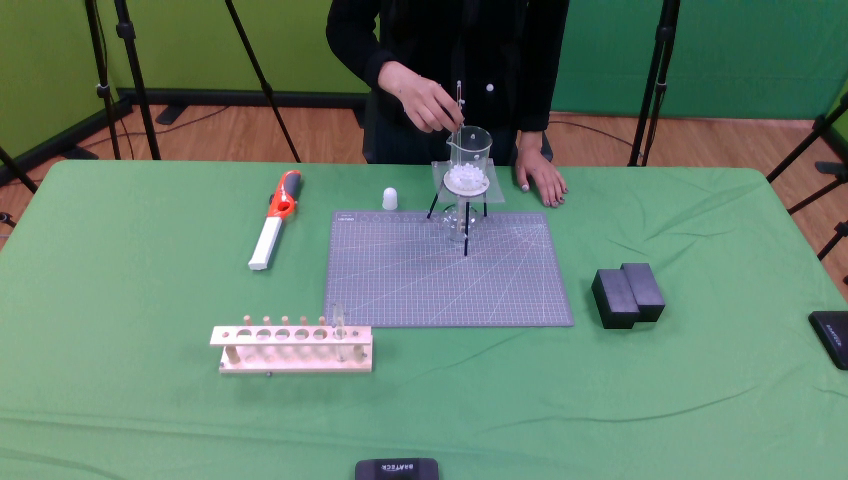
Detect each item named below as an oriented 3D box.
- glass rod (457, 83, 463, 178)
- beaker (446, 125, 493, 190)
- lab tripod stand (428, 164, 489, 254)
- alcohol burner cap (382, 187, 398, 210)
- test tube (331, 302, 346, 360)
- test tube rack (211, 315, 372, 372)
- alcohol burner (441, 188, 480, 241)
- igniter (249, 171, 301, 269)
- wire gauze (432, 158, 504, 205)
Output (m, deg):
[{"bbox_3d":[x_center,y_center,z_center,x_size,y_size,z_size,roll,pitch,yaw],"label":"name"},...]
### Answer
[{"bbox_3d":[0.064,-0.187,1.064,0.008,0.201,0.008,-2,46,3],"label":"glass rod"},{"bbox_3d":[0.079,-0.148,1.106,0.084,0.101,0.073,-3,47,-7],"label":"beaker"},{"bbox_3d":[0.078,-0.068,1.188,0.148,0.132,0.147,3,47,-3],"label":"lab tripod stand"},{"bbox_3d":[-0.072,-0.090,1.266,0.034,0.048,0.033,2,47,-2],"label":"alcohol burner cap"},{"bbox_3d":[-0.132,0.144,0.938,0.017,0.151,0.017,2,49,-3],"label":"test tube"},{"bbox_3d":[-0.208,0.164,0.982,0.242,0.085,0.066,1,46,-4],"label":"test tube rack"},{"bbox_3d":[0.073,-0.055,1.189,0.078,0.120,0.077,1,48,-1],"label":"alcohol burner"},{"bbox_3d":[-0.297,-0.049,1.220,0.057,0.025,0.275,-2,45,9],"label":"igniter"},{"bbox_3d":[0.081,-0.111,1.138,0.125,0.011,0.120,0,48,-7],"label":"wire gauze"}]
